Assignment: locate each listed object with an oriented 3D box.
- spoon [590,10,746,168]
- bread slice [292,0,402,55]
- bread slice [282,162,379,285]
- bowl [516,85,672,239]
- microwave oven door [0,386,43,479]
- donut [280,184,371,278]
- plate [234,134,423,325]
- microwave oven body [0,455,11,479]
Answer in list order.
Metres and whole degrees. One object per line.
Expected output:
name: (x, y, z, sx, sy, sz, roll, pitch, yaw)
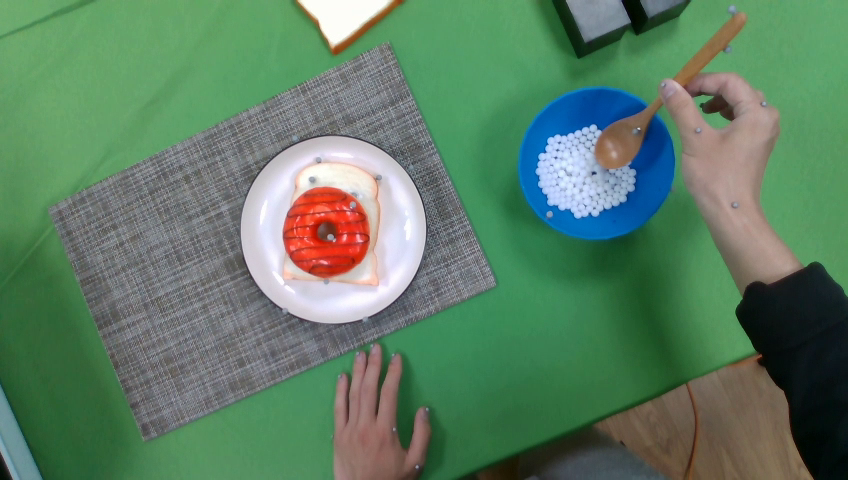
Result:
spoon: (0.207, -0.124, 0.530, 0.021, 0.194, 0.041, -30, 77, -28)
bread slice: (-0.103, -0.292, 0.684, 0.105, 0.019, 0.131, -39, 87, 3)
bread slice: (-0.103, -0.018, 0.670, 0.107, 0.018, 0.134, 1, 90, 5)
bowl: (0.169, -0.075, 0.627, 0.151, 0.077, 0.151, 0, 89, 5)
microwave oven door: (-0.503, 0.214, 0.591, 0.039, 0.244, 0.355, -27, 87, 5)
donut: (-0.104, -0.010, 0.641, 0.099, 0.048, 0.099, 0, 90, 6)
plate: (-0.103, -0.011, 0.669, 0.207, 0.039, 0.207, 0, 90, 5)
microwave oven body: (-0.652, 0.241, 0.611, 0.326, 0.260, 0.441, -26, 88, 4)
